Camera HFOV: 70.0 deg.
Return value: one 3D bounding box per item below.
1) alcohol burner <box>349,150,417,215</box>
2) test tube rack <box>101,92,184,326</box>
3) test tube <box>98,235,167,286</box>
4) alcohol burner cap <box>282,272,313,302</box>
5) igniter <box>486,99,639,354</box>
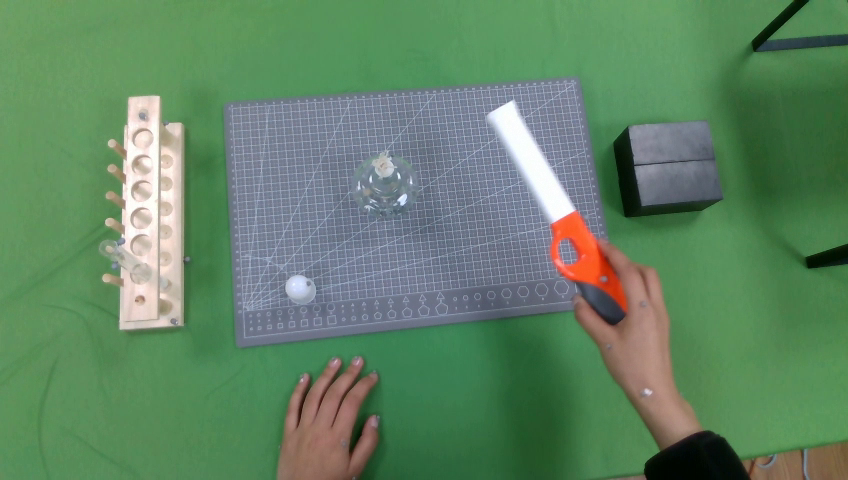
[{"bbox_3d":[-0.047,-0.069,0.678,0.078,0.119,0.077,1,79,-3],"label":"alcohol burner"},{"bbox_3d":[-0.313,-0.032,0.668,0.067,0.085,0.241,-3,78,-4],"label":"test tube rack"},{"bbox_3d":[-0.288,0.024,0.607,0.017,0.151,0.017,2,73,-5],"label":"test tube"},{"bbox_3d":[-0.144,0.051,0.682,0.034,0.048,0.033,1,78,-5],"label":"alcohol burner cap"},{"bbox_3d":[0.141,-0.014,0.609,0.057,0.025,0.276,-28,89,-3],"label":"igniter"}]
